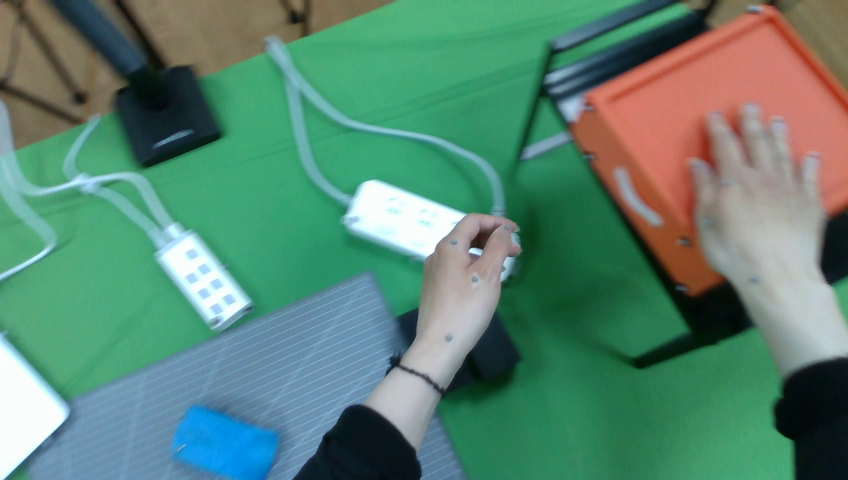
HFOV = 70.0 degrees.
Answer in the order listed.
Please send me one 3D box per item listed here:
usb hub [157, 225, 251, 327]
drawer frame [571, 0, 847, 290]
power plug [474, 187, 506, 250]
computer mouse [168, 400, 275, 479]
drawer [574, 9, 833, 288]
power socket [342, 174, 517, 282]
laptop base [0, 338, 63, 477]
[{"bbox_3d":[-0.270,0.044,0.741,0.049,0.025,0.124,-39,77,-10],"label":"usb hub"},{"bbox_3d":[0.284,-0.092,0.571,0.213,0.083,0.200,-28,75,-10],"label":"drawer frame"},{"bbox_3d":[0.090,-0.021,0.741,0.035,0.053,0.072,33,73,10],"label":"power plug"},{"bbox_3d":[-0.228,0.224,0.679,0.117,0.041,0.062,16,75,8],"label":"computer mouse"},{"bbox_3d":[0.283,-0.089,0.572,0.212,0.073,0.193,-27,75,-9],"label":"drawer"},{"bbox_3d":[0.009,-0.016,0.758,0.226,0.033,0.072,21,74,6],"label":"power socket"},{"bbox_3d":[-0.612,0.247,0.679,0.235,0.023,0.354,41,77,8],"label":"laptop base"}]
